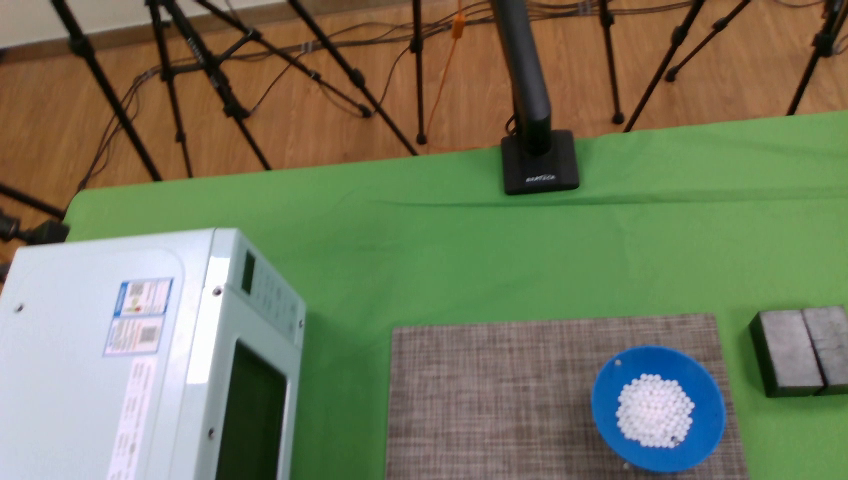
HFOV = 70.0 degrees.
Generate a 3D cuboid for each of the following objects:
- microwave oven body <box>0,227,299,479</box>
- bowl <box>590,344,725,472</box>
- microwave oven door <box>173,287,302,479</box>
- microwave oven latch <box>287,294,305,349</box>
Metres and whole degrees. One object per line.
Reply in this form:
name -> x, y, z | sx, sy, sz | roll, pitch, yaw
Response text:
microwave oven body -> -0.357, 0.243, 0.752 | 0.325, 0.262, 0.438 | -5, 61, 8
bowl -> 0.280, 0.211, 0.744 | 0.151, 0.077, 0.150 | -5, 61, 9
microwave oven door -> -0.214, 0.263, 0.706 | 0.039, 0.246, 0.352 | -6, 61, 9
microwave oven latch -> -0.194, 0.121, 0.898 | 0.030, 0.030, 0.078 | -4, 62, 9
